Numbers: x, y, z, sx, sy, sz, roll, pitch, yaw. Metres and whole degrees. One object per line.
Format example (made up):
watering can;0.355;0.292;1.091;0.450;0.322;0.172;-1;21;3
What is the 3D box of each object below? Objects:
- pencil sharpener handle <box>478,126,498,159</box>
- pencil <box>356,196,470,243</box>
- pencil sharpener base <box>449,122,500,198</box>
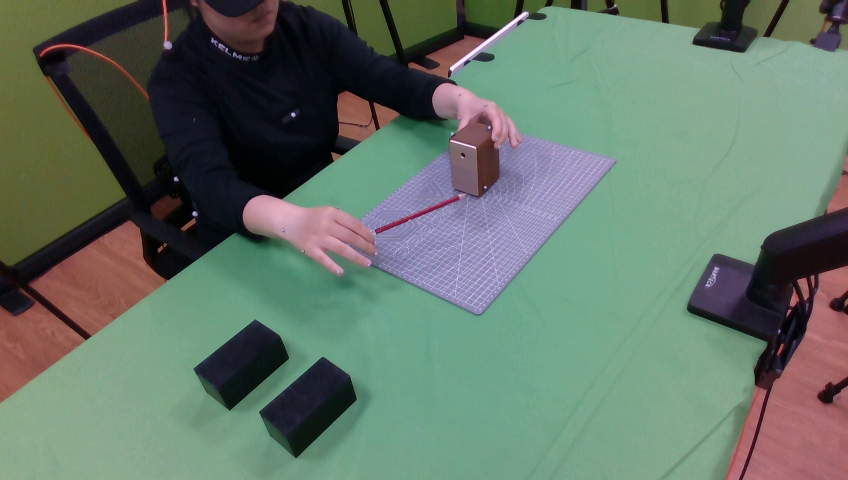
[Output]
pencil sharpener handle;0.119;-0.179;1.075;0.035;0.068;0.031;21;47;29
pencil;-0.014;-0.034;0.927;0.195;0.012;0.012;-22;42;-17
pencil sharpener base;0.091;-0.141;1.052;0.061;0.107;0.077;20;47;30
